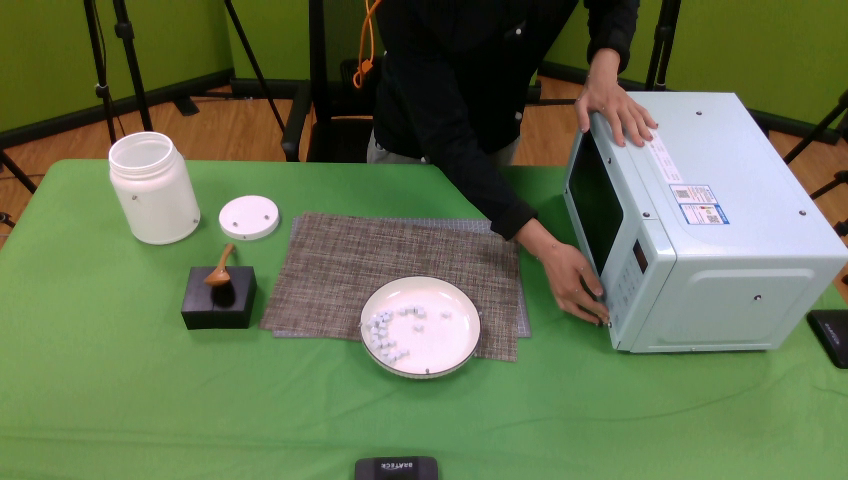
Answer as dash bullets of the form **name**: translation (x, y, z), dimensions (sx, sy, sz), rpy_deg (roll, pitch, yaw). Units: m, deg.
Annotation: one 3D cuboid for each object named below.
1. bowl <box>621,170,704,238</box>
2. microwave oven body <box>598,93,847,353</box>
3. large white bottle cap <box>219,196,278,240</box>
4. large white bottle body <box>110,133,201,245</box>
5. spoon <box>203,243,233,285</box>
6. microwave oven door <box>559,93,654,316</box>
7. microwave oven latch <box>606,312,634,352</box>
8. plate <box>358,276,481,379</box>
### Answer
- **bowl**: translation (0.446, -0.057, 1.166), dimensions (0.151, 0.077, 0.150), rpy_deg (2, 46, -2)
- **microwave oven body**: translation (0.476, -0.041, 1.109), dimensions (0.326, 0.261, 0.438), rpy_deg (-1, 45, -4)
- **large white bottle cap**: translation (-0.354, -0.045, 1.220), dimensions (0.115, 0.018, 0.114), rpy_deg (2, 45, -2)
- **large white bottle body**: translation (-0.505, -0.097, 1.141), dimensions (0.131, 0.185, 0.130), rpy_deg (2, 46, -2)
- **spoon**: translation (-0.360, 0.039, 1.087), dimensions (0.041, 0.022, 0.192), rpy_deg (-4, 24, -7)
- **microwave oven door**: translation (0.328, -0.074, 1.123), dimensions (0.039, 0.245, 0.353), rpy_deg (-1, 46, -4)
- **microwave oven latch**: translation (0.335, 0.154, 1.044), dimensions (0.030, 0.029, 0.078), rpy_deg (3, 45, 0)
- **plate**: translation (-0.009, 0.151, 1.038), dimensions (0.209, 0.038, 0.208), rpy_deg (2, 47, -2)
